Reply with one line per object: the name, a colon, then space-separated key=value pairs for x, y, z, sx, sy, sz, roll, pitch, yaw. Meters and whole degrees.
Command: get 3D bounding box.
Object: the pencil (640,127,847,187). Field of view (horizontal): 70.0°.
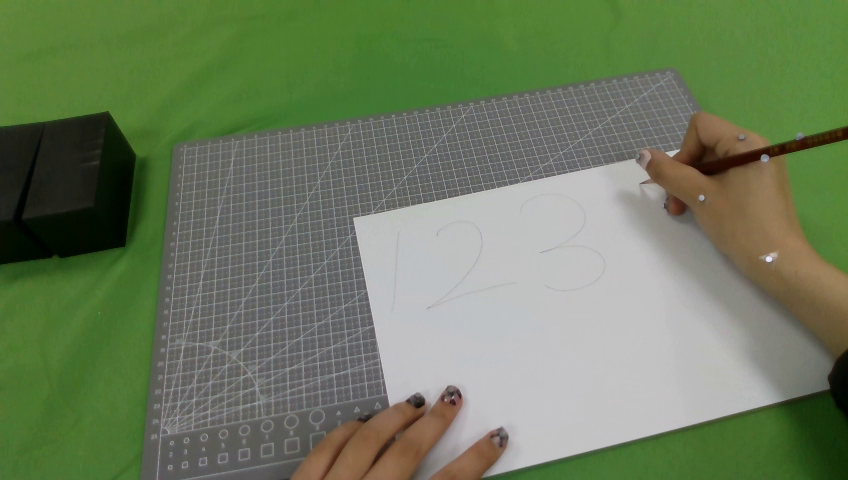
pencil: x=0.208 y=-0.052 z=0.386 sx=0.012 sy=0.193 sz=0.012 roll=3 pitch=83 yaw=-24
